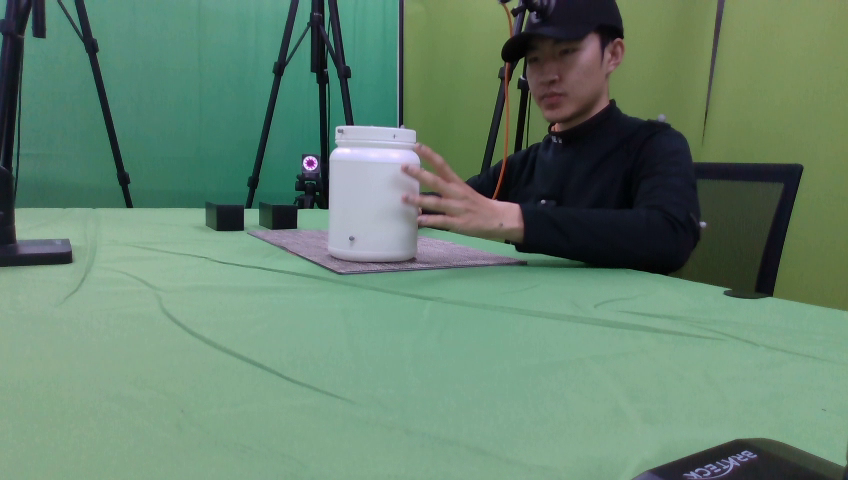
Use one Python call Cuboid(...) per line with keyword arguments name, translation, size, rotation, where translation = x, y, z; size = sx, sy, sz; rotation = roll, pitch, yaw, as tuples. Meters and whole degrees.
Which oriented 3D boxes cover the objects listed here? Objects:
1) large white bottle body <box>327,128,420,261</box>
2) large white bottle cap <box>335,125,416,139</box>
Cuboid(name="large white bottle body", translation=(-0.073, -0.069, 0.870), size=(0.131, 0.184, 0.130), rotation=(2, 8, 0))
Cuboid(name="large white bottle cap", translation=(-0.069, -0.151, 0.859), size=(0.115, 0.018, 0.115), rotation=(2, 8, 0))
